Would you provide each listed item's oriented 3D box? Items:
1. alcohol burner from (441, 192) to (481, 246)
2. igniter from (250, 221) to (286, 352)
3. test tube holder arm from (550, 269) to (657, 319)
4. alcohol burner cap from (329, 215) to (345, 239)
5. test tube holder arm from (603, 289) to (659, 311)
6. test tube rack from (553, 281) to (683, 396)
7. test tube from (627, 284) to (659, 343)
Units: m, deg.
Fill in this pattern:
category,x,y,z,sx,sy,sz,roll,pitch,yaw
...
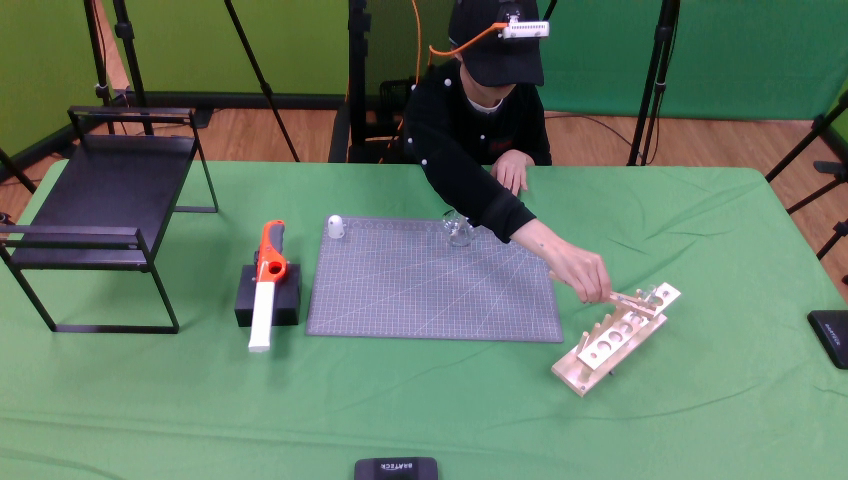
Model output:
category,x,y,z,sx,sy,sz,roll,pitch,yaw
alcohol burner,0.073,-0.046,1.176,0.078,0.119,0.077,2,44,-2
igniter,-0.269,0.068,1.042,0.057,0.025,0.274,0,48,-7
test tube holder arm,0.290,0.086,0.990,0.178,0.015,0.013,22,50,22
alcohol burner cap,-0.172,-0.028,1.192,0.034,0.048,0.033,1,47,-1
test tube holder arm,0.333,0.096,0.978,0.087,0.015,0.010,14,49,16
test tube rack,0.329,0.153,1.022,0.242,0.085,0.066,-30,54,-28
test tube,0.352,0.122,0.985,0.017,0.151,0.017,1,47,-1
